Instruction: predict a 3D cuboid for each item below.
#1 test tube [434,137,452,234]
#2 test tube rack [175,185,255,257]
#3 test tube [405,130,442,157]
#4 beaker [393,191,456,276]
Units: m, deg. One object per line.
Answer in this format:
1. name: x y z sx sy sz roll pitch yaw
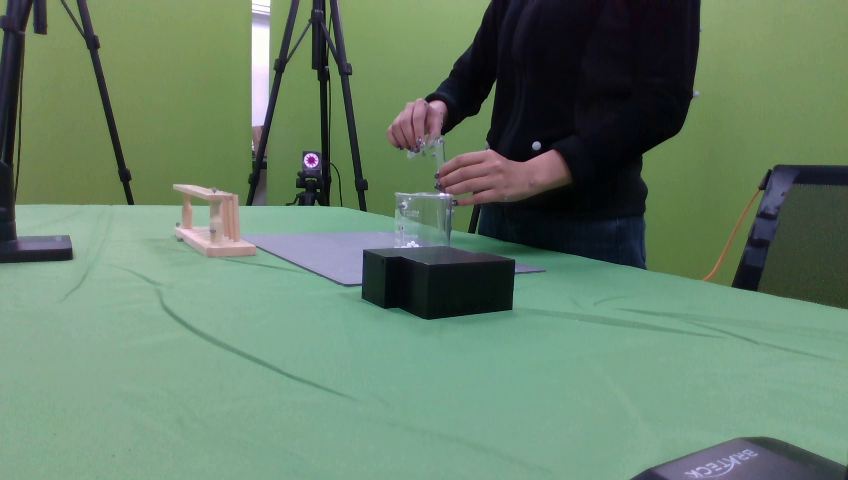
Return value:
1. test tube: 0.028 -0.083 0.906 0.017 0.150 0.017 -4 -13 -1
2. test tube rack: -0.324 -0.035 0.922 0.067 0.085 0.241 -2 9 -31
3. test tube: -0.003 -0.156 0.992 0.017 0.017 0.150 -1 -3 -20
4. beaker: -0.003 -0.010 0.749 0.074 0.100 0.083 -3 8 -40
